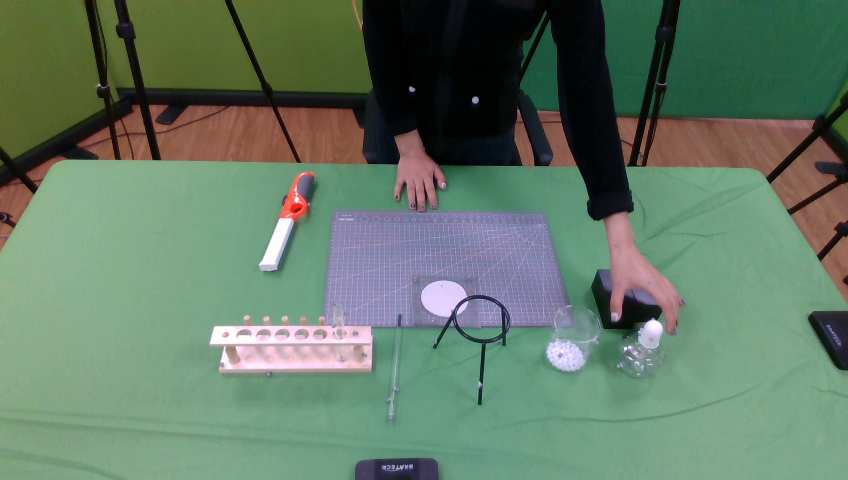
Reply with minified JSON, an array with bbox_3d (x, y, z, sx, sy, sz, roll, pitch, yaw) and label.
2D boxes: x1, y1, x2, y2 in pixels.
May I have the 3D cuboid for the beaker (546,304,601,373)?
[{"bbox_3d":[0.242,0.167,1.001,0.084,0.101,0.073,-32,55,-28],"label":"beaker"}]

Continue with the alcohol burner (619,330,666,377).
[{"bbox_3d":[0.363,0.172,0.995,0.078,0.120,0.077,1,48,-1],"label":"alcohol burner"}]

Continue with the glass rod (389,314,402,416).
[{"bbox_3d":[-0.048,0.203,1.008,0.008,0.008,0.198,4,45,0],"label":"glass rod"}]

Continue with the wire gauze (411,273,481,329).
[{"bbox_3d":[0.038,0.108,1.103,0.125,0.011,0.120,2,47,-3],"label":"wire gauze"}]

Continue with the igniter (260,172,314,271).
[{"bbox_3d":[-0.272,-0.046,1.220,0.057,0.025,0.275,0,45,10],"label":"igniter"}]

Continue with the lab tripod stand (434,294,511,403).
[{"bbox_3d":[0.087,0.164,0.969,0.148,0.132,0.147,3,47,-3],"label":"lab tripod stand"}]

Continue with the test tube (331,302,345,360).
[{"bbox_3d":[-0.132,0.144,0.938,0.017,0.151,0.017,2,49,-3],"label":"test tube"}]

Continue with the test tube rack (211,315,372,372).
[{"bbox_3d":[-0.208,0.164,0.982,0.242,0.085,0.066,1,46,-4],"label":"test tube rack"}]

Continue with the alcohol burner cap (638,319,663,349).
[{"bbox_3d":[0.364,0.147,0.968,0.034,0.048,0.033,-1,45,1],"label":"alcohol burner cap"}]
